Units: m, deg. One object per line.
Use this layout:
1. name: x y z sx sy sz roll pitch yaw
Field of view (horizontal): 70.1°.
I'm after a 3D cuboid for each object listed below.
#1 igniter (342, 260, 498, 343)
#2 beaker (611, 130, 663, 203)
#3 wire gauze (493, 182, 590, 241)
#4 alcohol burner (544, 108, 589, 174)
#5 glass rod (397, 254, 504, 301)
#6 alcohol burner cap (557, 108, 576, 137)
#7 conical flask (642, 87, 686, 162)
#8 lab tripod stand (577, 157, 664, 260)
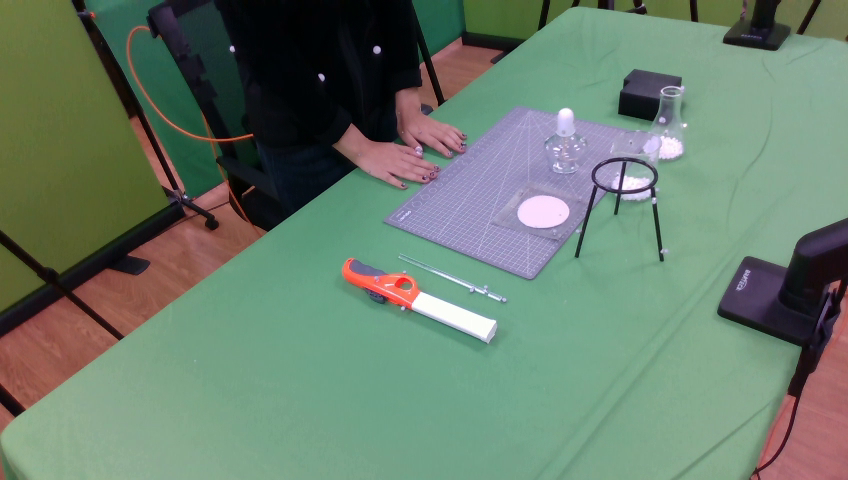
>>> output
1. igniter: -0.017 0.084 0.883 0.274 0.025 0.057 20 58 31
2. beaker: 0.346 -0.118 0.998 0.084 0.101 0.073 -17 40 -7
3. wire gauze: 0.198 -0.048 1.011 0.120 0.011 0.125 20 50 31
4. alcohol burner: 0.252 -0.178 1.071 0.078 0.120 0.077 -7 40 7
5. glass rod: 0.036 0.054 0.923 0.198 0.008 0.008 21 50 31
6. alcohol burner cap: 0.246 -0.205 1.047 0.034 0.048 0.033 -8 44 8
7. conical flask: 0.429 -0.206 1.068 0.075 0.122 0.075 -6 40 6
8. lab tripod stand: 0.292 -0.047 0.897 0.148 0.132 0.147 -7 38 6
